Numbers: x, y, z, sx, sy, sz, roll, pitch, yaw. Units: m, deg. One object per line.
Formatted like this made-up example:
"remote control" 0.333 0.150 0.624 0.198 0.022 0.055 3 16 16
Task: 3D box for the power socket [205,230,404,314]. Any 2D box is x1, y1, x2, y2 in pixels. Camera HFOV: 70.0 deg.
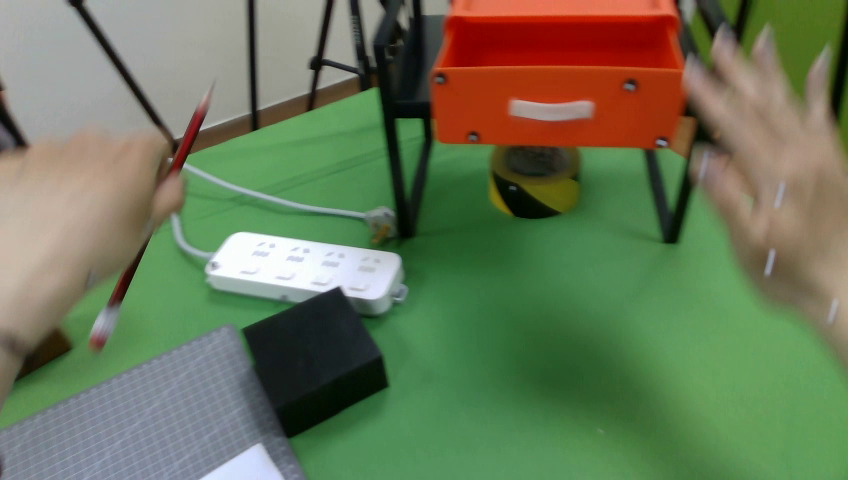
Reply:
"power socket" -0.133 0.032 0.662 0.226 0.033 0.071 7 44 15

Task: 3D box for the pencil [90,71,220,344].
"pencil" -0.172 -0.025 0.394 0.012 0.012 0.193 16 79 23

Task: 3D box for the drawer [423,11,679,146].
"drawer" 0.112 -0.173 0.554 0.194 0.074 0.210 3 43 10

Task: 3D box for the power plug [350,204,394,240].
"power plug" -0.065 -0.016 0.718 0.072 0.035 0.052 -23 24 42

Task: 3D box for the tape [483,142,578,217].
"tape" 0.130 -0.085 0.742 0.117 0.053 0.115 -3 45 3

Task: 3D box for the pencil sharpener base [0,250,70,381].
"pencil sharpener base" -0.416 0.076 0.594 0.076 0.108 0.061 -35 51 -27

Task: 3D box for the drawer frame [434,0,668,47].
"drawer frame" 0.126 -0.238 0.618 0.201 0.083 0.211 2 43 10
